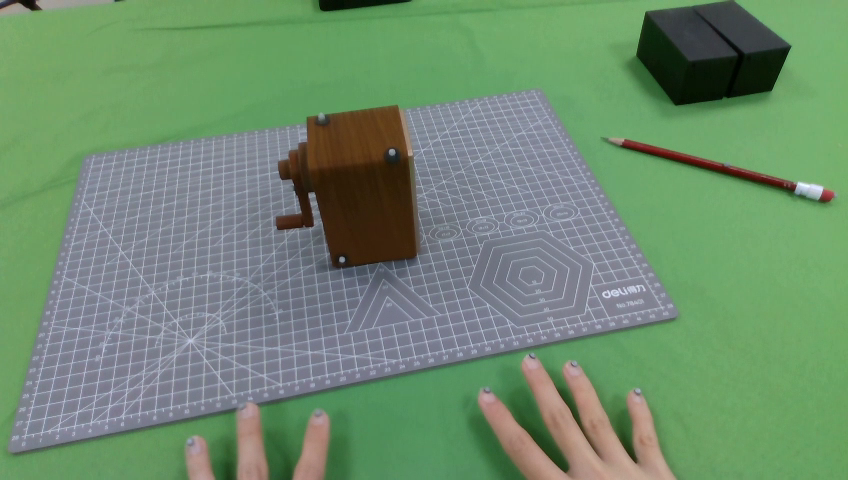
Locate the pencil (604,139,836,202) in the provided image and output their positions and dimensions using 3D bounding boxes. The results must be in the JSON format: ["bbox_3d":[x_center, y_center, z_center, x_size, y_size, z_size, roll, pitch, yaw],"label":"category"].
[{"bbox_3d":[0.254,-0.065,0.535,0.193,0.012,0.012,19,51,21],"label":"pencil"}]

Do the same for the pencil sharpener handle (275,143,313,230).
[{"bbox_3d":[-0.097,-0.036,0.434,0.031,0.068,0.035,-8,37,-4],"label":"pencil sharpener handle"}]

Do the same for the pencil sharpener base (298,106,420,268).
[{"bbox_3d":[-0.046,-0.036,0.449,0.077,0.108,0.060,-8,48,-4],"label":"pencil sharpener base"}]
